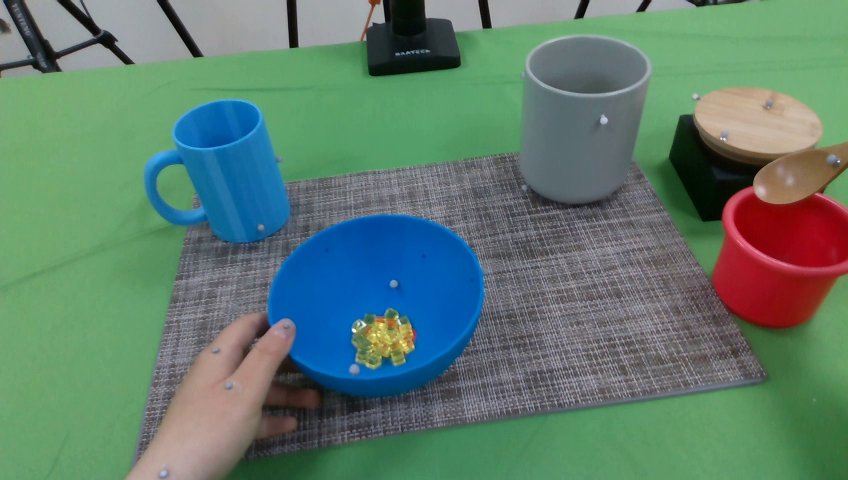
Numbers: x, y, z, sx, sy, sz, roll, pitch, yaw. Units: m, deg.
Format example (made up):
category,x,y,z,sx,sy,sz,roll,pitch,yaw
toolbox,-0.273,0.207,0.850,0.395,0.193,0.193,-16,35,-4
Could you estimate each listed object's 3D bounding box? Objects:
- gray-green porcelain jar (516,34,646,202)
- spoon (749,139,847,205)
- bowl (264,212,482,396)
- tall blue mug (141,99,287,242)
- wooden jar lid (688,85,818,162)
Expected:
category,x,y,z,sx,sy,sz,roll,pitch,yaw
gray-green porcelain jar,0.139,-0.107,0.559,0.106,0.128,0.105,-2,45,3
spoon,0.295,-0.070,0.376,0.022,0.194,0.041,22,60,-19
bowl,-0.032,0.058,0.443,0.151,0.077,0.150,-2,45,3
tall blue mug,-0.185,-0.053,0.544,0.077,0.109,0.107,28,54,28
wooden jar lid,0.298,-0.106,0.555,0.108,0.021,0.107,-3,45,3
